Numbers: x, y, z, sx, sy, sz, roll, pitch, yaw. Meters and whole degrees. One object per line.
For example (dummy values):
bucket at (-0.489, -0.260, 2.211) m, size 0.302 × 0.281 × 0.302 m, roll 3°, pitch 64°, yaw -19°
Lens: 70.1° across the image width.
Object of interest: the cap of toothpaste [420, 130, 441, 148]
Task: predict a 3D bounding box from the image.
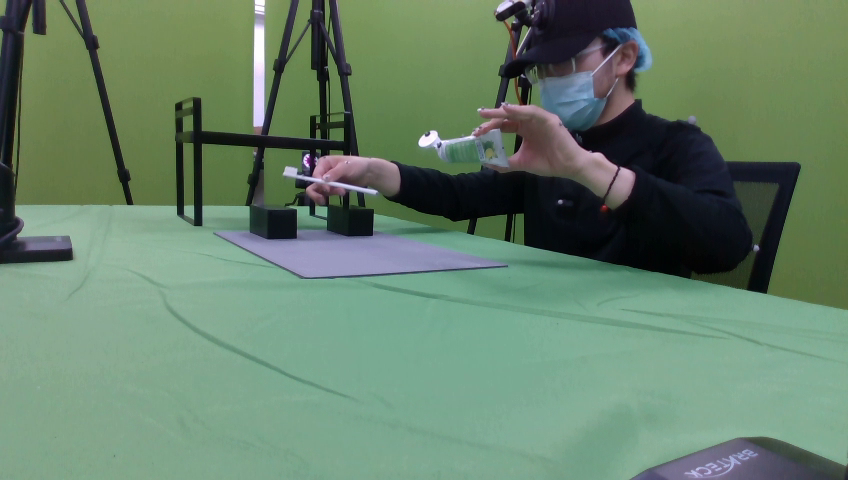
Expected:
cap of toothpaste at (0.011, -0.157, 0.946) m, size 0.037 × 0.037 × 0.011 m, roll 9°, pitch -28°, yaw 42°

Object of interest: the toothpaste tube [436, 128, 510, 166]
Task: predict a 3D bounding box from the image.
toothpaste tube at (0.067, -0.135, 0.879) m, size 0.034 × 0.055 × 0.164 m, roll -33°, pitch 21°, yaw -23°

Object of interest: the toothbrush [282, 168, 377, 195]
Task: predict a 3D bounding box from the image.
toothbrush at (-0.164, -0.101, 1.074) m, size 0.183 × 0.016 × 0.014 m, roll 10°, pitch -2°, yaw -31°
